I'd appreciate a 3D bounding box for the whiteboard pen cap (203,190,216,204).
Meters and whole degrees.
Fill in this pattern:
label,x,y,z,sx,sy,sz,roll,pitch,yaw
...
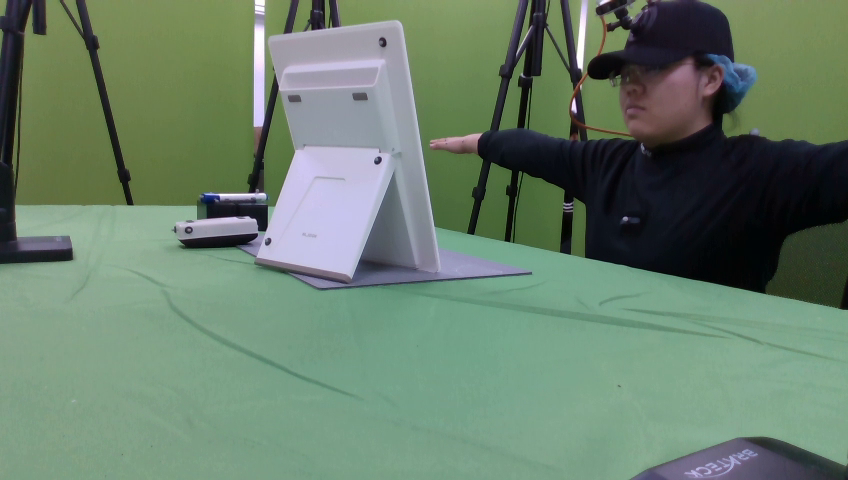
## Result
label,x,y,z,sx,sy,sz,roll,pitch,yaw
whiteboard pen cap,-0.388,-0.077,1.093,0.018,0.018,0.033,2,25,-7

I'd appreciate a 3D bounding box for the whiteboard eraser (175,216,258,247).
label,x,y,z,sx,sy,sz,roll,pitch,yaw
whiteboard eraser,-0.313,-0.013,0.915,0.113,0.042,0.055,-5,12,-30

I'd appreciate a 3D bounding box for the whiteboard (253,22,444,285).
label,x,y,z,sx,sy,sz,roll,pitch,yaw
whiteboard,-0.125,-0.081,0.715,0.216,0.305,0.144,9,29,36

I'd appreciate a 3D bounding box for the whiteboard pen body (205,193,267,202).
label,x,y,z,sx,sy,sz,roll,pitch,yaw
whiteboard pen body,-0.354,-0.081,1.147,0.017,0.017,0.141,8,9,34
